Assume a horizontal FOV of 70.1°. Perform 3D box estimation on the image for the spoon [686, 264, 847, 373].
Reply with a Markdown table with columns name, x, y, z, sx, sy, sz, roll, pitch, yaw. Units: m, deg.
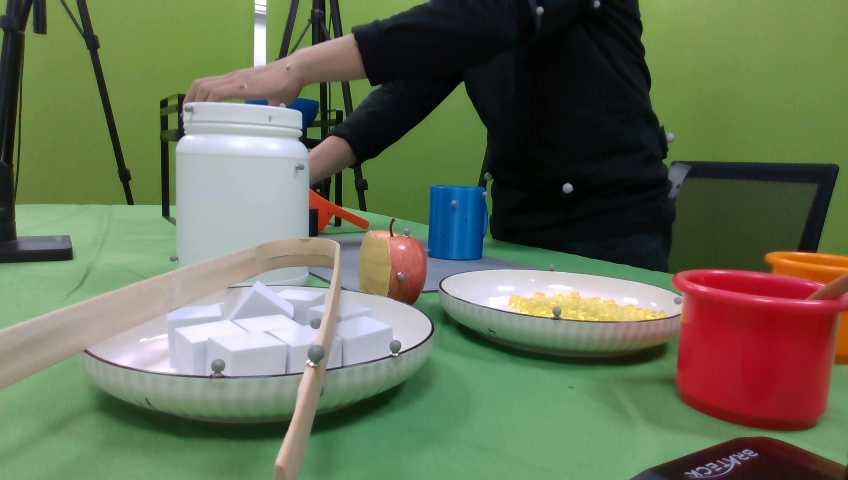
| name | x | y | z | sx | sy | sz | roll | pitch | yaw |
| --- | --- | --- | --- | --- | --- | --- | --- | --- | --- |
| spoon | 0.214 | 0.032 | 0.328 | 0.042 | 0.021 | 0.193 | -3 | -35 | -26 |

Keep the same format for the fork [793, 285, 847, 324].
| name | x | y | z | sx | sy | sz | roll | pitch | yaw |
| --- | --- | --- | --- | --- | --- | --- | --- | --- | --- |
| fork | 0.332 | 0.018 | 0.443 | 0.028 | 0.018 | 0.207 | -1 | -36 | -15 |

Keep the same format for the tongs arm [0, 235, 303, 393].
| name | x | y | z | sx | sy | sz | roll | pitch | yaw |
| --- | --- | --- | --- | --- | --- | --- | --- | --- | --- |
| tongs arm | -0.157 | 0.038 | 0.351 | 0.028 | 0.028 | 0.388 | -3 | 8 | 12 |

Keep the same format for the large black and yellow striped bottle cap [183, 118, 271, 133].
| name | x | y | z | sx | sy | sz | roll | pitch | yaw |
| --- | --- | --- | --- | --- | --- | --- | --- | --- | --- |
| large black and yellow striped bottle cap | -0.269 | -0.157 | 0.829 | 0.115 | 0.019 | 0.115 | 2 | 9 | 0 |

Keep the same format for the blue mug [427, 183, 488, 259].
| name | x | y | z | sx | sy | sz | roll | pitch | yaw |
| --- | --- | --- | --- | --- | --- | --- | --- | --- | --- |
| blue mug | 0.059 | -0.031 | 0.907 | 0.082 | 0.106 | 0.117 | 9 | 10 | 42 |

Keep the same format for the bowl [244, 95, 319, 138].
| name | x | y | z | sx | sy | sz | roll | pitch | yaw |
| --- | --- | --- | --- | --- | --- | --- | --- | --- | --- |
| bowl | -0.293 | -0.251 | 1.249 | 0.151 | 0.077 | 0.151 | 2 | 8 | 0 |

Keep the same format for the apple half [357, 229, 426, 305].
| name | x | y | z | sx | sy | sz | roll | pitch | yaw |
| --- | --- | --- | --- | --- | --- | --- | --- | --- | --- |
| apple half | -0.026 | 0.028 | 0.570 | 0.053 | 0.074 | 0.080 | 2 | 2 | -28 |

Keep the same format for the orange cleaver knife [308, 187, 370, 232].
| name | x | y | z | sx | sy | sz | roll | pitch | yaw |
| --- | --- | --- | --- | --- | --- | --- | --- | --- | --- |
| orange cleaver knife | -0.196 | -0.056 | 1.140 | 0.212 | 0.077 | 0.012 | 29 | 0 | -34 |

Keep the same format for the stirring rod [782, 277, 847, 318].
| name | x | y | z | sx | sy | sz | roll | pitch | yaw |
| --- | --- | --- | --- | --- | --- | --- | --- | --- | --- |
| stirring rod | 0.344 | 0.019 | 0.460 | 0.014 | 0.006 | 0.176 | -13 | -27 | -30 |

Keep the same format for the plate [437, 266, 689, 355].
| name | x | y | z | sx | sy | sz | roll | pitch | yaw |
| --- | --- | --- | --- | --- | --- | --- | --- | --- | --- |
| plate | 0.113 | 0.057 | 0.517 | 0.209 | 0.038 | 0.209 | 3 | 7 | 0 |

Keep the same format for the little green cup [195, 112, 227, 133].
| name | x | y | z | sx | sy | sz | roll | pitch | yaw |
| --- | --- | --- | --- | --- | --- | --- | --- | --- | --- |
| little green cup | -0.412 | -0.227 | 1.171 | 0.061 | 0.038 | 0.061 | 3 | 8 | 0 |

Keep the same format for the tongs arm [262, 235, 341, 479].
| name | x | y | z | sx | sy | sz | roll | pitch | yaw |
| --- | --- | --- | --- | --- | --- | --- | --- | --- | --- |
| tongs arm | -0.073 | 0.039 | 0.349 | 0.051 | 0.026 | 0.384 | -2 | 10 | -3 |

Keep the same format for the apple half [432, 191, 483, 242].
| name | x | y | z | sx | sy | sz | roll | pitch | yaw |
| --- | --- | --- | --- | --- | --- | --- | --- | --- | --- |
| apple half | 0.049 | -0.036 | 0.906 | 0.081 | 0.081 | 0.033 | 2 | 14 | -2 |

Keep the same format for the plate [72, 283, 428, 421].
| name | x | y | z | sx | sy | sz | roll | pitch | yaw |
| --- | --- | --- | --- | --- | --- | --- | --- | --- | --- |
| plate | -0.102 | 0.066 | 0.381 | 0.208 | 0.039 | 0.207 | 2 | 7 | 0 |

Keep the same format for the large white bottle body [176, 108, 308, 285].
| name | x | y | z | sx | sy | sz | roll | pitch | yaw |
| --- | --- | --- | --- | --- | --- | --- | --- | --- | --- |
| large white bottle body | -0.187 | -0.042 | 0.630 | 0.131 | 0.184 | 0.130 | 2 | 7 | 0 |

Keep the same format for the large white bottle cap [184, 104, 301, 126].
| name | x | y | z | sx | sy | sz | roll | pitch | yaw |
| --- | --- | --- | --- | --- | --- | --- | --- | --- | --- |
| large white bottle cap | -0.184 | -0.126 | 0.618 | 0.115 | 0.018 | 0.115 | 2 | 8 | 0 |

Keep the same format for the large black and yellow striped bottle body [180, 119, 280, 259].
| name | x | y | z | sx | sy | sz | roll | pitch | yaw |
| --- | --- | --- | --- | --- | --- | --- | --- | --- | --- |
| large black and yellow striped bottle body | -0.269 | -0.075 | 0.844 | 0.131 | 0.184 | 0.130 | 1 | 11 | 0 |
